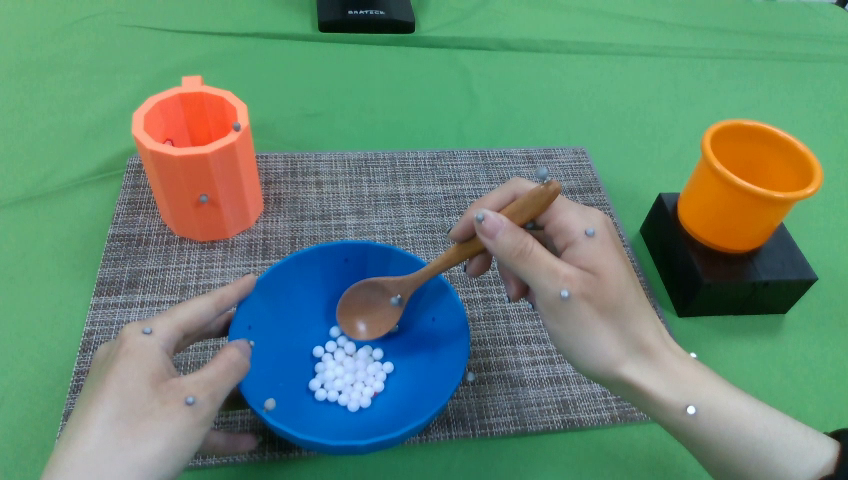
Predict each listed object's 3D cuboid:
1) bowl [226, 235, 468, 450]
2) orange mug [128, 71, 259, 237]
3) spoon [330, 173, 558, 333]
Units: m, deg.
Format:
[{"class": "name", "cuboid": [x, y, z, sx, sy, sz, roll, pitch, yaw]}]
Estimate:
[{"class": "bowl", "cuboid": [-0.050, 0.078, 0.408, 0.151, 0.077, 0.150, 4, 49, -4]}, {"class": "orange mug", "cuboid": [-0.190, -0.080, 0.509, 0.084, 0.101, 0.125, -9, 56, -14]}, {"class": "spoon", "cuboid": [0.005, 0.013, 0.369, 0.042, 0.193, 0.021, 53, 41, -5]}]
